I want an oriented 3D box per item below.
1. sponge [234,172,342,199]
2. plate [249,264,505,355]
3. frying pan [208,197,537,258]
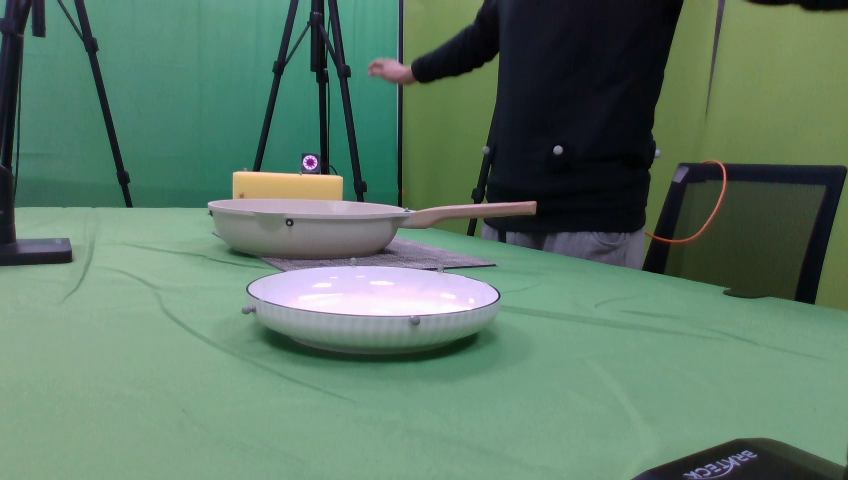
[{"bbox_3d":[-0.273,-0.105,1.223,0.207,0.061,0.118,0,7,-14],"label":"sponge"},{"bbox_3d":[-0.038,0.056,0.504,0.208,0.039,0.207,2,7,0],"label":"plate"},{"bbox_3d":[-0.076,-0.034,0.913,0.487,0.102,0.307,-5,7,11],"label":"frying pan"}]
